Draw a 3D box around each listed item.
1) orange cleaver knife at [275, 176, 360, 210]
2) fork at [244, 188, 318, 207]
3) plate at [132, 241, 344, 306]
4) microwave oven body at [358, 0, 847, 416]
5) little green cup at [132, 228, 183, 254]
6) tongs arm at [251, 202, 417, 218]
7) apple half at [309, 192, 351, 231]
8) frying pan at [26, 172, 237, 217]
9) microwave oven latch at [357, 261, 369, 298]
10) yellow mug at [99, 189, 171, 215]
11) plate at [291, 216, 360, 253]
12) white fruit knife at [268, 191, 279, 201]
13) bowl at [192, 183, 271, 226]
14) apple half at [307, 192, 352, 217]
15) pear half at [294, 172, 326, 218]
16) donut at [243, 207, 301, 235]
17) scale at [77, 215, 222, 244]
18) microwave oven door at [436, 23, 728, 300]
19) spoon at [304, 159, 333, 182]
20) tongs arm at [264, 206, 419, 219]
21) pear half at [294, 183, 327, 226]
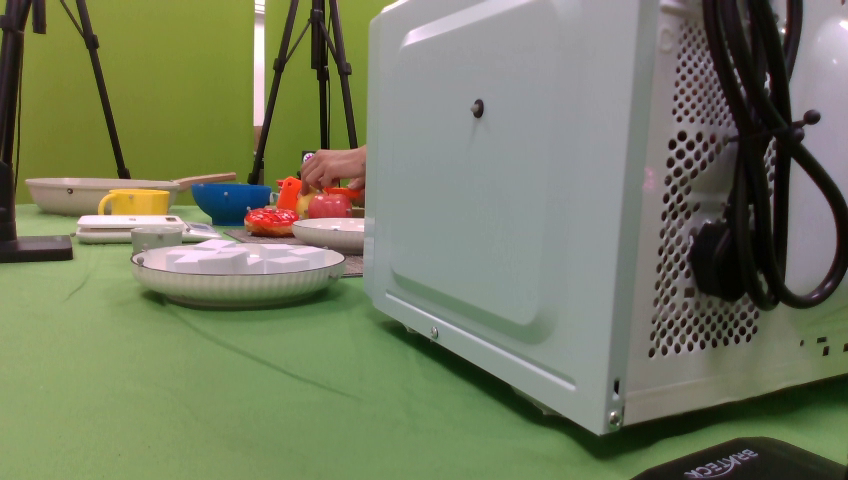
[{"bbox_3d":[-0.199,-0.085,1.229,0.212,0.077,0.012,2,7,-34],"label":"orange cleaver knife"},{"bbox_3d":[-0.356,-0.105,1.526,0.208,0.018,0.028,16,-6,-41],"label":"fork"},{"bbox_3d":[-0.187,0.033,0.625,0.208,0.039,0.207,2,7,0],"label":"plate"},{"bbox_3d":[0.211,-0.047,0.474,0.444,0.260,0.324,-1,7,-28],"label":"microwave oven body"},{"bbox_3d":[-0.342,0.006,0.779,0.061,0.038,0.061,2,8,0],"label":"little green cup"},{"bbox_3d":[-0.208,-0.072,1.438,0.389,0.027,0.028,1,1,-16],"label":"tongs arm"},{"bbox_3d":[-0.172,-0.055,1.125,0.081,0.081,0.033,2,9,2],"label":"apple half"},{"bbox_3d":[-0.624,-0.118,1.387,0.305,0.102,0.490,8,17,32],"label":"frying pan"},{"bbox_3d":[-0.019,0.033,0.530,0.079,0.029,0.030,-1,7,-26],"label":"microwave oven latch"},{"bbox_3d":[-0.518,-0.055,1.080,0.099,0.064,0.131,7,9,26],"label":"yellow mug"},{"bbox_3d":[-0.103,-0.009,0.945,0.209,0.038,0.209,2,8,0],"label":"plate"},{"bbox_3d":[-0.364,-0.105,1.464,0.208,0.027,0.016,15,-1,-34],"label":"white fruit knife"},{"bbox_3d":[-0.382,-0.070,1.202,0.151,0.077,0.151,3,7,0],"label":"bowl"},{"bbox_3d":[-0.174,-0.049,1.087,0.081,0.074,0.053,6,11,2],"label":"apple half"},{"bbox_3d":[-0.213,-0.078,1.187,0.077,0.110,0.055,-17,18,-35],"label":"pear half"},{"bbox_3d":[-0.261,-0.032,1.043,0.099,0.048,0.099,4,9,0],"label":"donut"},{"bbox_3d":[-0.434,-0.019,0.963,0.202,0.031,0.148,-1,9,-27],"label":"scale"},{"bbox_3d":[0.180,-0.073,0.621,0.358,0.243,0.039,-2,9,-29],"label":"microwave oven door"},{"bbox_3d":[-0.316,-0.159,1.640,0.194,0.022,0.041,-50,32,-20],"label":"spoon"},{"bbox_3d":[-0.173,-0.062,1.361,0.387,0.026,0.050,-1,5,-30],"label":"tongs arm"},{"bbox_3d":[-0.235,-0.072,1.224,0.071,0.088,0.031,-18,10,-39],"label":"pear half"}]
